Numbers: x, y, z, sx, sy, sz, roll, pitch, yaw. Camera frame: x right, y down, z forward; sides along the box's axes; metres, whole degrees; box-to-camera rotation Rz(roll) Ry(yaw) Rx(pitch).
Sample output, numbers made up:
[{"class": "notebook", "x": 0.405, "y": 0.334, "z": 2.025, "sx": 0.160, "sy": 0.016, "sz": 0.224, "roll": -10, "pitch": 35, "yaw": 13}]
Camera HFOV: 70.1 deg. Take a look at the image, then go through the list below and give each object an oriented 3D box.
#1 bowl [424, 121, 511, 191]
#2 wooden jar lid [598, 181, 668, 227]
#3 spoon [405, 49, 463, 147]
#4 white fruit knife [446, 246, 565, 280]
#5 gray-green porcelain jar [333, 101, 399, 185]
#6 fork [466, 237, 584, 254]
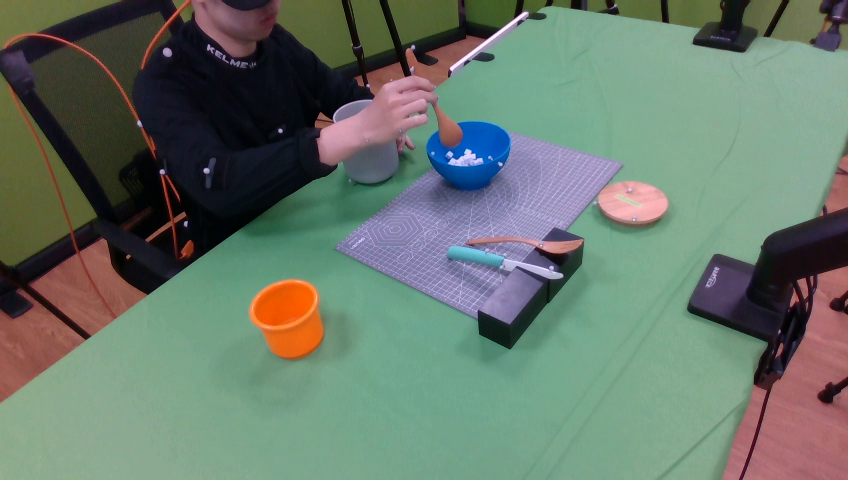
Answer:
[{"class": "bowl", "x": 0.080, "y": -0.141, "z": 1.074, "sx": 0.151, "sy": 0.077, "sz": 0.150, "roll": -4, "pitch": 40, "yaw": 4}, {"class": "wooden jar lid", "x": 0.340, "y": -0.058, "z": 0.989, "sx": 0.108, "sy": 0.021, "sz": 0.108, "roll": -5, "pitch": 41, "yaw": 5}, {"class": "spoon", "x": 0.013, "y": -0.224, "z": 0.974, "sx": 0.041, "sy": 0.195, "sz": 0.021, "roll": -31, "pitch": 36, "yaw": 4}, {"class": "white fruit knife", "x": 0.111, "y": 0.033, "z": 0.868, "sx": 0.205, "sy": 0.027, "sz": 0.016, "roll": 11, "pitch": 44, "yaw": 40}, {"class": "gray-green porcelain jar", "x": -0.104, "y": -0.174, "z": 1.108, "sx": 0.106, "sy": 0.127, "sz": 0.105, "roll": -4, "pitch": 40, "yaw": 4}, {"class": "fork", "x": 0.142, "y": 0.005, "z": 0.894, "sx": 0.205, "sy": 0.019, "sz": 0.028, "roll": 4, "pitch": 43, "yaw": 41}]
